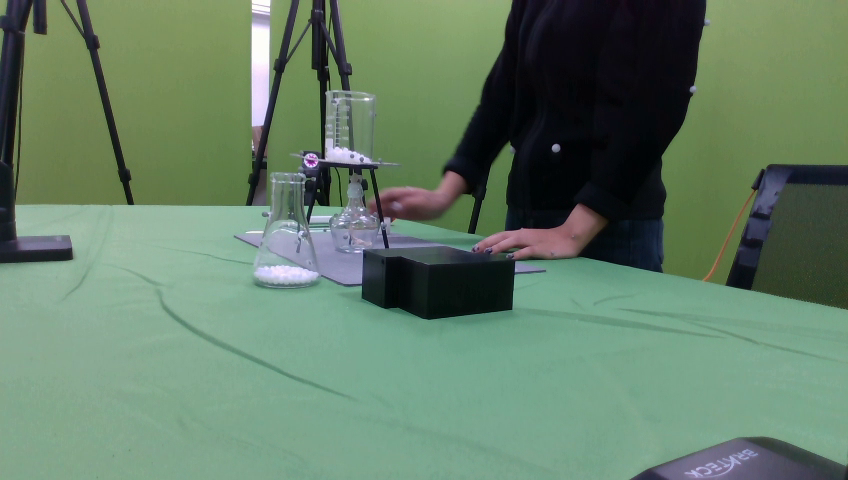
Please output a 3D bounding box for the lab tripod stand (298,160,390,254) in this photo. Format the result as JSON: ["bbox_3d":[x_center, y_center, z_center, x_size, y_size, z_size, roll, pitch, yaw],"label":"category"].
[{"bbox_3d":[-0.111,-0.050,0.893,0.148,0.131,0.148,4,6,0],"label":"lab tripod stand"}]

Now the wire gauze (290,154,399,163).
[{"bbox_3d":[-0.112,-0.114,0.883,0.124,0.011,0.122,5,5,28],"label":"wire gauze"}]

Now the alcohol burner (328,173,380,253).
[{"bbox_3d":[-0.104,-0.041,0.902,0.078,0.119,0.078,0,7,0],"label":"alcohol burner"}]

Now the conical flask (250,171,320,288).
[{"bbox_3d":[-0.150,-0.013,0.658,0.075,0.122,0.075,2,7,0],"label":"conical flask"}]

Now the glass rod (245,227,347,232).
[{"bbox_3d":[-0.237,-0.021,1.141,0.201,0.008,0.008,-2,8,-32],"label":"glass rod"}]

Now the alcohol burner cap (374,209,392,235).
[{"bbox_3d":[-0.078,-0.036,1.148,0.034,0.048,0.034,2,8,0],"label":"alcohol burner cap"}]

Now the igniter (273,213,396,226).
[{"bbox_3d":[-0.179,-0.044,1.258,0.278,0.025,0.057,-3,-1,-39],"label":"igniter"}]

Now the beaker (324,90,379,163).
[{"bbox_3d":[-0.110,-0.162,0.879,0.083,0.100,0.074,8,7,36],"label":"beaker"}]
